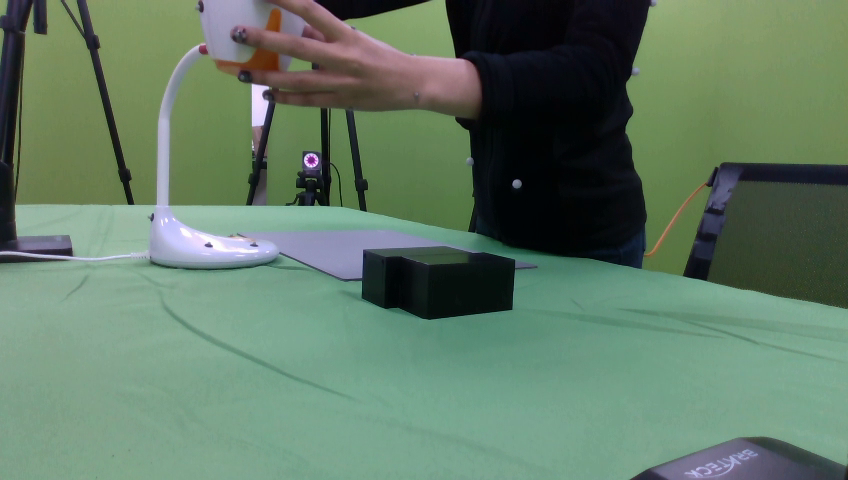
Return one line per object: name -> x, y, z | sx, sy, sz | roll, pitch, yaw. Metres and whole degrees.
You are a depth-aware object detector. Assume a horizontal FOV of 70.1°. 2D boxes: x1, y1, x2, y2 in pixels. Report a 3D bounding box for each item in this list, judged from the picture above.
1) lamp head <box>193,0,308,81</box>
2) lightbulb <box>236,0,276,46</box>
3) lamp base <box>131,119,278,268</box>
lamp head -> -0.167, -0.214, 0.571 | 0.112, 0.123, 0.112 | 9, 9, -1
lightbulb -> -0.157, -0.236, 0.567 | 0.059, 0.107, 0.059 | 8, 1, 0
lamp base -> -0.279, -0.061, 0.770 | 0.160, 0.180, 0.180 | 9, 13, 44
